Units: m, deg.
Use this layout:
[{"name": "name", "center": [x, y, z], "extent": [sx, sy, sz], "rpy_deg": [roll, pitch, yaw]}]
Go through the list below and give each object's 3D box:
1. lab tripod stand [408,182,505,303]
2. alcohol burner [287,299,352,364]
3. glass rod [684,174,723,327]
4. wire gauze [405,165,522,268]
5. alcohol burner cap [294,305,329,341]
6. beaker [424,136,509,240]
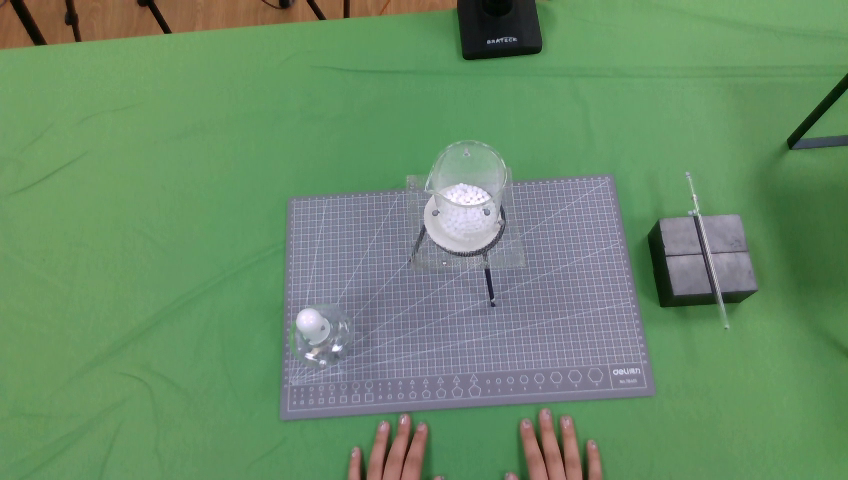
[{"name": "lab tripod stand", "center": [0.048, -0.005, 0.733], "extent": [0.148, 0.132, 0.147], "rpy_deg": [-1, 66, 3]}, {"name": "alcohol burner", "center": [-0.125, 0.103, 0.708], "extent": [0.078, 0.120, 0.077], "rpy_deg": [0, 70, 1]}, {"name": "glass rod", "center": [0.338, 0.009, 0.735], "extent": [0.008, 0.008, 0.198], "rpy_deg": [-4, 69, 1]}, {"name": "wire gauze", "center": [0.042, -0.026, 0.671], "extent": [0.125, 0.011, 0.120], "rpy_deg": [-2, 69, -1]}, {"name": "alcohol burner cap", "center": [-0.128, 0.090, 0.675], "extent": [0.034, 0.048, 0.033], "rpy_deg": [-3, 63, 6]}, {"name": "beaker", "center": [0.042, -0.048, 0.628], "extent": [0.084, 0.101, 0.073], "rpy_deg": [-19, 68, -5]}]
